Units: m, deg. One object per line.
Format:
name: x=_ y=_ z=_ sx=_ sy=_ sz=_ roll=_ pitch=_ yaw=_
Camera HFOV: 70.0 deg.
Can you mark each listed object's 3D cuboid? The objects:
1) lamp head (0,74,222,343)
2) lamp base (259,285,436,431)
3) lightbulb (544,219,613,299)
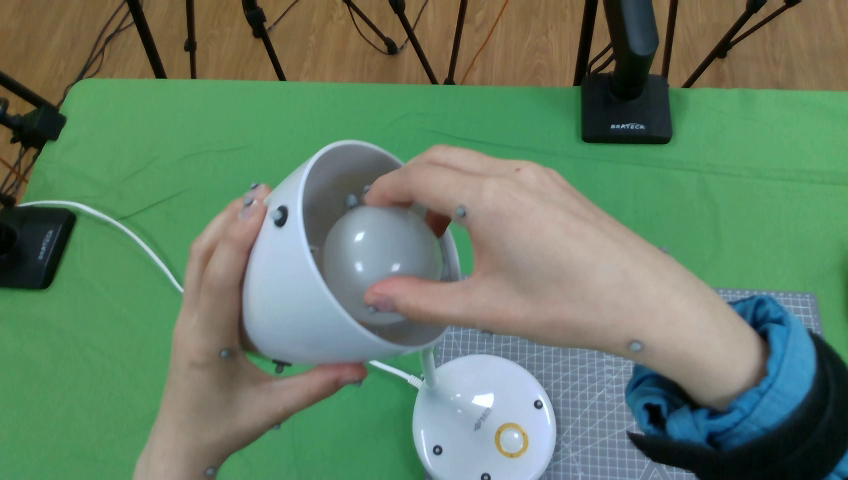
lamp head: x=-0.170 y=0.000 z=0.288 sx=0.113 sy=0.123 sz=0.111 roll=20 pitch=57 yaw=-34
lamp base: x=-0.083 y=0.103 z=0.595 sx=0.179 sy=0.181 sz=0.159 roll=5 pitch=73 yaw=6
lightbulb: x=0.170 y=0.018 z=0.685 sx=0.059 sy=0.060 sz=0.106 roll=-25 pitch=59 yaw=-6
